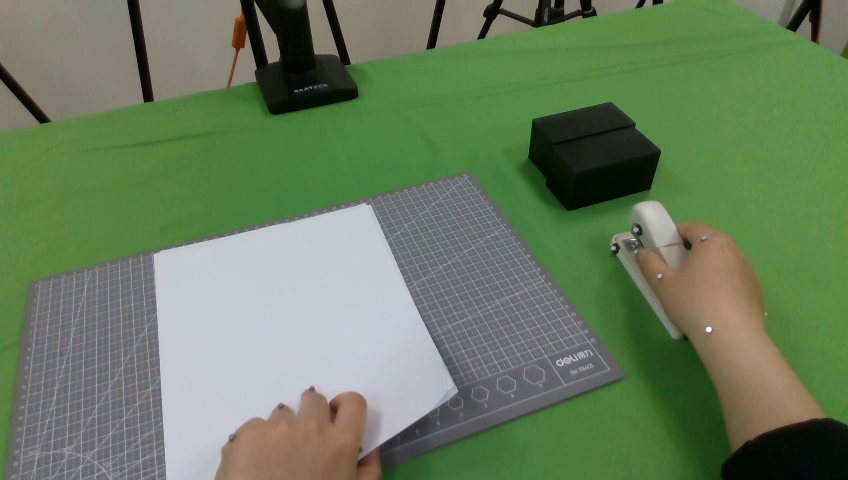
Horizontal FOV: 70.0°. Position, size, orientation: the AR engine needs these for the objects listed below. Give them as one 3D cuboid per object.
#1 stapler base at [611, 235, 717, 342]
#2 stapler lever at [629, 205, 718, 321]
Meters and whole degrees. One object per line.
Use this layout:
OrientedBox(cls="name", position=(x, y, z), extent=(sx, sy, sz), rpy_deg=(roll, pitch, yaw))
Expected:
OrientedBox(cls="stapler base", position=(0.214, 0.034, 0.545), extent=(0.041, 0.024, 0.129), rpy_deg=(-9, 44, -9))
OrientedBox(cls="stapler lever", position=(0.215, 0.016, 0.527), extent=(0.027, 0.040, 0.116), rpy_deg=(-10, 44, -9))
